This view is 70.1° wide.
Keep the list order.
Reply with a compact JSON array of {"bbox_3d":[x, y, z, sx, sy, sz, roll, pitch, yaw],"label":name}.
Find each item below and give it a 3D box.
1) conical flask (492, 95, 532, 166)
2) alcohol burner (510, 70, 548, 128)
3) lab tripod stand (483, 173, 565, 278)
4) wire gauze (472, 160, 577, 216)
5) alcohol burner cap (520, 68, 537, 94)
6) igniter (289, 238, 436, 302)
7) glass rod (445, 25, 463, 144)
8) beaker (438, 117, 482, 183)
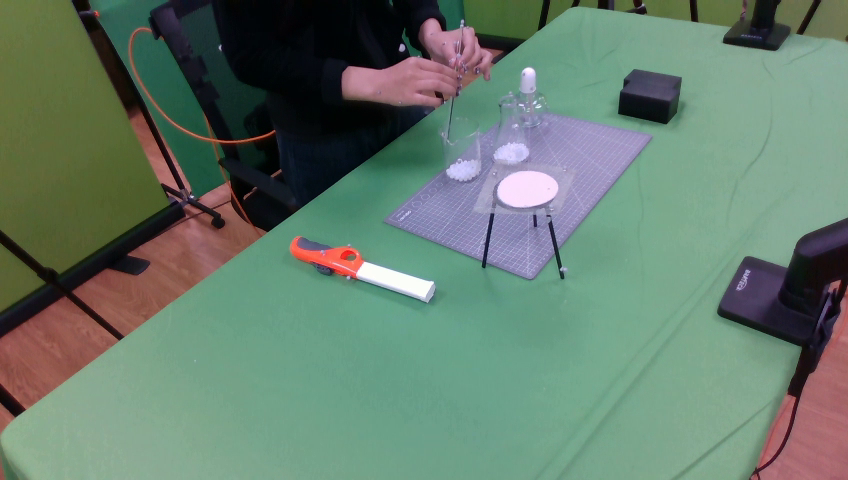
[{"bbox_3d":[0.159,-0.203,1.111,0.075,0.122,0.075,-5,40,5],"label":"conical flask"},{"bbox_3d":[0.209,-0.287,1.208,0.078,0.119,0.077,-5,42,5],"label":"alcohol burner"},{"bbox_3d":[0.151,-0.025,0.896,0.148,0.132,0.147,-7,40,6],"label":"lab tripod stand"},{"bbox_3d":[0.143,-0.073,0.850,0.121,0.011,0.125,8,43,22],"label":"wire gauze"},{"bbox_3d":[0.205,-0.313,1.183,0.034,0.048,0.033,-3,50,4],"label":"alcohol burner cap"},{"bbox_3d":[-0.106,0.043,0.949,0.274,0.025,0.057,16,57,27],"label":"igniter"},{"bbox_3d":[0.050,-0.262,1.031,0.008,0.200,0.008,6,21,-2],"label":"glass rod"},{"bbox_3d":[0.068,-0.160,1.097,0.073,0.101,0.084,7,43,19],"label":"beaker"}]
